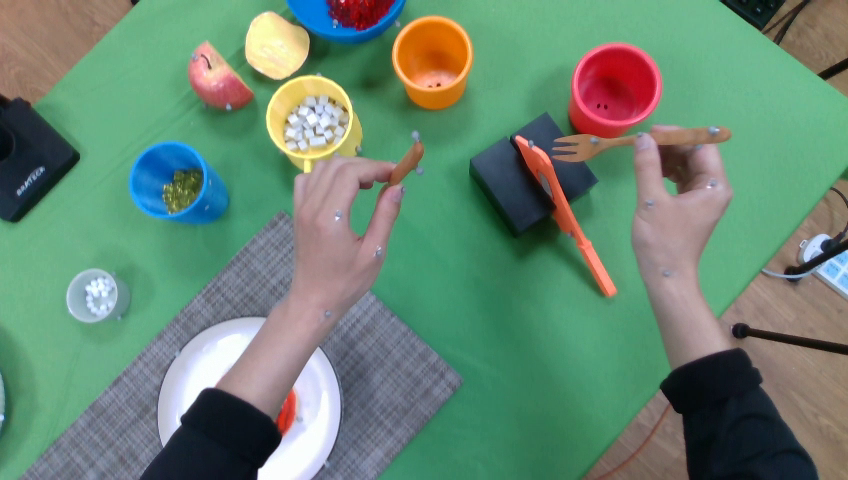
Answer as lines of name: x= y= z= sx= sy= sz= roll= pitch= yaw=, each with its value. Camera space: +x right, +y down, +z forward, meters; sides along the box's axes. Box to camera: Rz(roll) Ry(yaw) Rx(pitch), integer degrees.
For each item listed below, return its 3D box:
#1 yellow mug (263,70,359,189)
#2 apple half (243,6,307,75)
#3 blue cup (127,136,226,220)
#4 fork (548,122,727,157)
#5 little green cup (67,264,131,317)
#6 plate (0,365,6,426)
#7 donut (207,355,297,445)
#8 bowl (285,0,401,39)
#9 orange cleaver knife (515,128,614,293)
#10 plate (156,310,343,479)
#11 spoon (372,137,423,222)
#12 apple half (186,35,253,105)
yellow mug: x=-0.132 y=-0.125 z=0.714 sx=0.100 sy=0.064 sz=0.130 roll=1 pitch=83 yaw=3
apple half: x=-0.184 y=-0.243 z=0.751 sx=0.081 sy=0.032 sz=0.081 roll=0 pitch=97 yaw=-2
blue cup: x=-0.273 y=-0.062 z=0.694 sx=0.092 sy=0.100 sz=0.092 roll=0 pitch=82 yaw=1
fork: x=0.176 y=-0.090 z=0.536 sx=0.019 sy=0.206 sz=0.028 roll=13 pitch=90 yaw=-23
little green cup: x=-0.380 y=0.061 z=0.714 sx=0.061 sy=0.039 sz=0.061 roll=0 pitch=82 yaw=3
plate: x=-0.583 y=0.190 z=0.705 sx=0.207 sy=0.039 sz=0.207 roll=0 pitch=82 yaw=3
donut: x=-0.190 y=0.178 z=0.672 sx=0.099 sy=0.048 sz=0.099 roll=0 pitch=84 yaw=4
bowl: x=-0.091 y=-0.304 z=0.732 sx=0.151 sy=0.077 sz=0.151 roll=0 pitch=83 yaw=3
orange cleaver knife: x=0.157 y=-0.031 z=0.679 sx=0.012 sy=0.076 sz=0.213 roll=-32 pitch=111 yaw=0
plate: x=-0.193 y=0.183 z=0.683 sx=0.209 sy=0.038 sz=0.208 roll=0 pitch=82 yaw=3
spoon: x=-0.025 y=-0.048 z=0.508 sx=0.022 sy=0.194 sz=0.041 roll=-4 pitch=82 yaw=-10
apple half: x=-0.251 y=-0.194 z=0.727 sx=0.053 sy=0.075 sz=0.080 roll=-42 pitch=85 yaw=1
